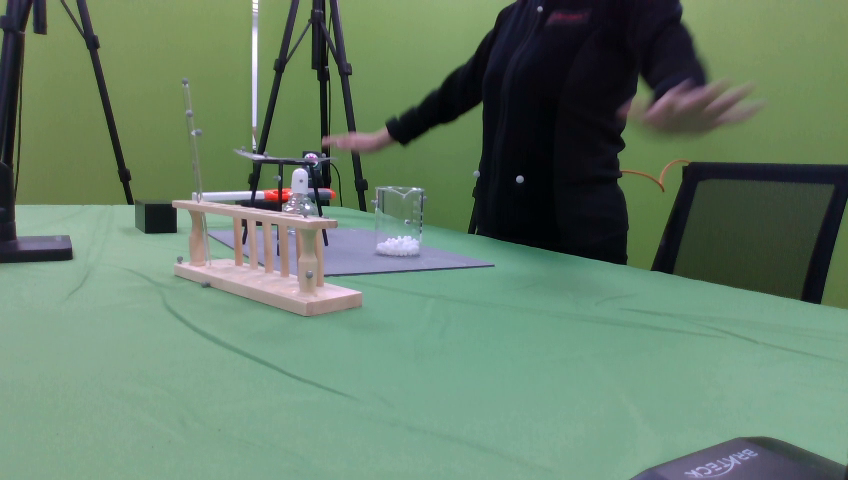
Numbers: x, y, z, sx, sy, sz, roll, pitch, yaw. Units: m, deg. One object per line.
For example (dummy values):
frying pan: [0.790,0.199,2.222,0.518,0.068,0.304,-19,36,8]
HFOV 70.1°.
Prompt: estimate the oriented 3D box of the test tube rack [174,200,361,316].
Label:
test tube rack: [-0.169,0.009,0.622,0.241,0.085,0.067,9,9,41]

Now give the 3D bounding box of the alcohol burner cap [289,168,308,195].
alcohol burner cap: [-0.224,-0.105,1.081,0.034,0.048,0.034,3,2,0]

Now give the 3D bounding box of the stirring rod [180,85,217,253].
stirring rod: [-0.236,-0.073,0.634,0.006,0.176,0.014,1,10,42]

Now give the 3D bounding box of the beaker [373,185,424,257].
beaker: [-0.037,-0.028,0.884,0.074,0.100,0.084,0,8,-11]

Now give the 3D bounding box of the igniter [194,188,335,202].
igniter: [-0.312,-0.089,1.209,0.278,0.025,0.057,-5,13,-31]

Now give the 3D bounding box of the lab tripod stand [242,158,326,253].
lab tripod stand: [-0.207,-0.054,0.895,0.148,0.131,0.148,3,5,0]

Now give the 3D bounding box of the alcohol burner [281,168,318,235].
alcohol burner: [-0.225,-0.069,1.086,0.078,0.119,0.078,2,6,0]

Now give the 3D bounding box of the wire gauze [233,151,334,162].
wire gauze: [-0.204,-0.120,0.887,0.122,0.011,0.124,0,7,-32]
